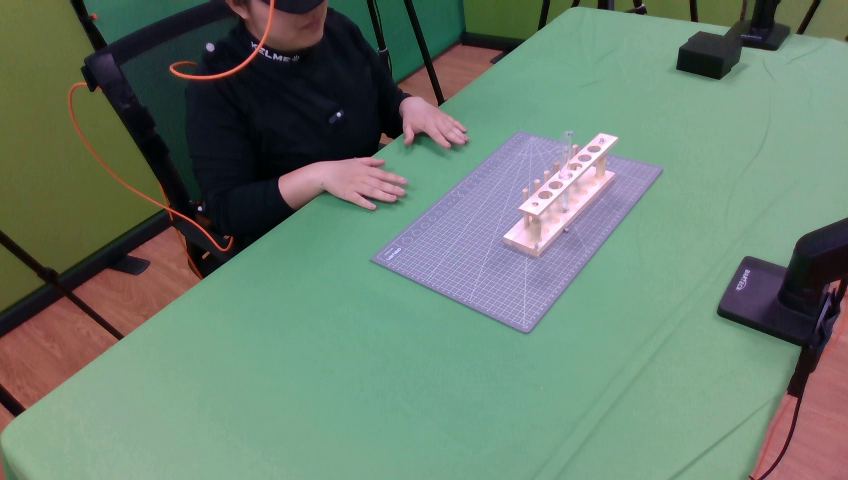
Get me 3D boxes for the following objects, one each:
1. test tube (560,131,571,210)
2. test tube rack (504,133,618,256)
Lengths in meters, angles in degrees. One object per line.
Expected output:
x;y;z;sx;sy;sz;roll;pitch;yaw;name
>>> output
0.218;-0.103;0.933;0.017;0.151;0.017;-6;45;7;test tube
0.225;-0.083;0.984;0.066;0.085;0.243;25;51;34;test tube rack
